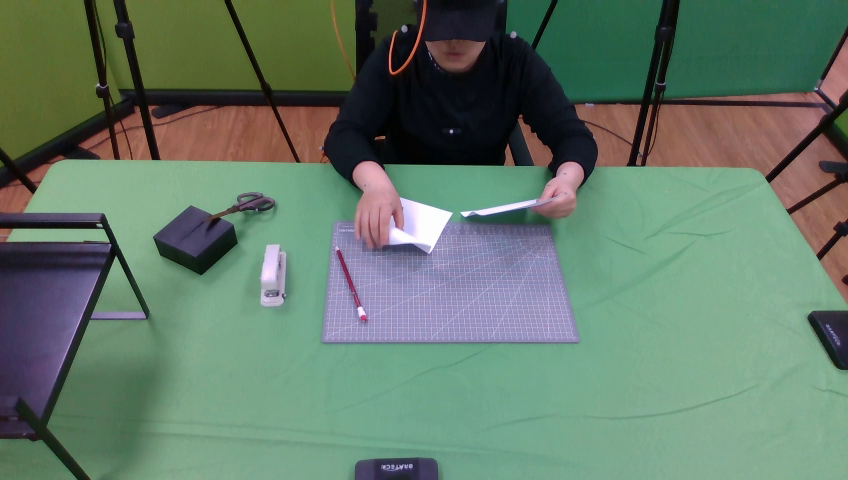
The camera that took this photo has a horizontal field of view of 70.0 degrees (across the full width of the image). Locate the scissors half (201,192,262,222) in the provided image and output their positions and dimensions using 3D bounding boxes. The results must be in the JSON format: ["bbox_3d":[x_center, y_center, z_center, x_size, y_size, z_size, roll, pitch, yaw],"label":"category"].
[{"bbox_3d":[-0.381,-0.066,1.198,0.040,0.013,0.175,22,27,11],"label":"scissors half"}]

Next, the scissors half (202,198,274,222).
[{"bbox_3d":[-0.364,-0.056,1.192,0.040,0.013,0.175,36,32,24],"label":"scissors half"}]

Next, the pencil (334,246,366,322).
[{"bbox_3d":[-0.140,0.076,1.117,0.012,0.012,0.192,-14,48,-17],"label":"pencil"}]

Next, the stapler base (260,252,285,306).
[{"bbox_3d":[-0.279,0.064,1.113,0.041,0.024,0.129,-1,44,-9],"label":"stapler base"}]

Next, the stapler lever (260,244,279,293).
[{"bbox_3d":[-0.279,0.045,1.096,0.027,0.040,0.117,-1,44,-9],"label":"stapler lever"}]
